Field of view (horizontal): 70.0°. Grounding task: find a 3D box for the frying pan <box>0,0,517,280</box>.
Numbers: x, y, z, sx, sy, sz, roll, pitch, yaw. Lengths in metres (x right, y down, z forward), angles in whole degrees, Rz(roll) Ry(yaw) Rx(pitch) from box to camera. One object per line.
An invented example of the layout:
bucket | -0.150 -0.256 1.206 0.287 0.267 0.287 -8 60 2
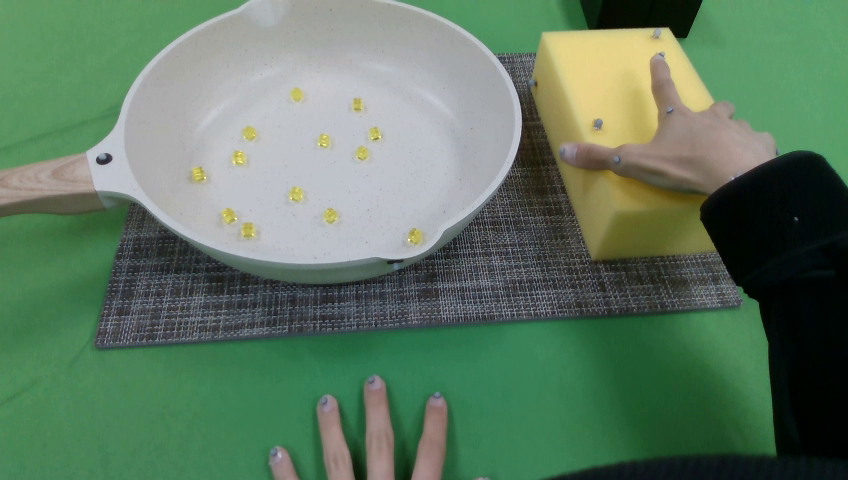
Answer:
frying pan | -0.169 -0.061 0.428 0.489 0.103 0.303 -15 55 -24

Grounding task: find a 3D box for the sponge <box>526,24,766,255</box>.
sponge | 0.168 -0.090 0.497 0.118 0.061 0.204 -5 54 -7
